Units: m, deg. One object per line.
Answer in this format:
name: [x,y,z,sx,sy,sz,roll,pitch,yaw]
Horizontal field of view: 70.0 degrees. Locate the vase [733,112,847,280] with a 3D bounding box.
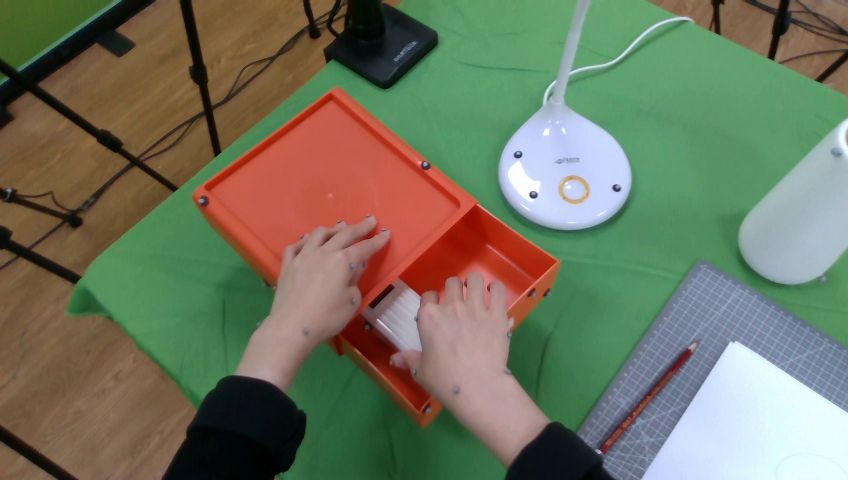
vase: [0.389,-0.039,0.605,0.098,0.201,0.097,-1,60,3]

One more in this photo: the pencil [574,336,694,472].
pencil: [0.216,0.160,0.609,0.194,0.012,0.012,-40,66,-20]

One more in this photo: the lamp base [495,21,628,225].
lamp base: [0.159,-0.135,0.676,0.161,0.182,0.177,-15,59,-6]

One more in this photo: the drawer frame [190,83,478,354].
drawer frame: [-0.090,-0.027,0.631,0.212,0.083,0.201,41,71,16]

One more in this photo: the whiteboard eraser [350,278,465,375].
whiteboard eraser: [-0.020,0.078,0.583,0.112,0.042,0.055,32,57,26]

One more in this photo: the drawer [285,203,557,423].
drawer: [-0.012,0.036,0.599,0.210,0.074,0.194,38,70,21]

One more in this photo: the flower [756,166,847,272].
flower: [0.402,-0.088,0.537,0.038,0.364,0.044,23,46,7]
